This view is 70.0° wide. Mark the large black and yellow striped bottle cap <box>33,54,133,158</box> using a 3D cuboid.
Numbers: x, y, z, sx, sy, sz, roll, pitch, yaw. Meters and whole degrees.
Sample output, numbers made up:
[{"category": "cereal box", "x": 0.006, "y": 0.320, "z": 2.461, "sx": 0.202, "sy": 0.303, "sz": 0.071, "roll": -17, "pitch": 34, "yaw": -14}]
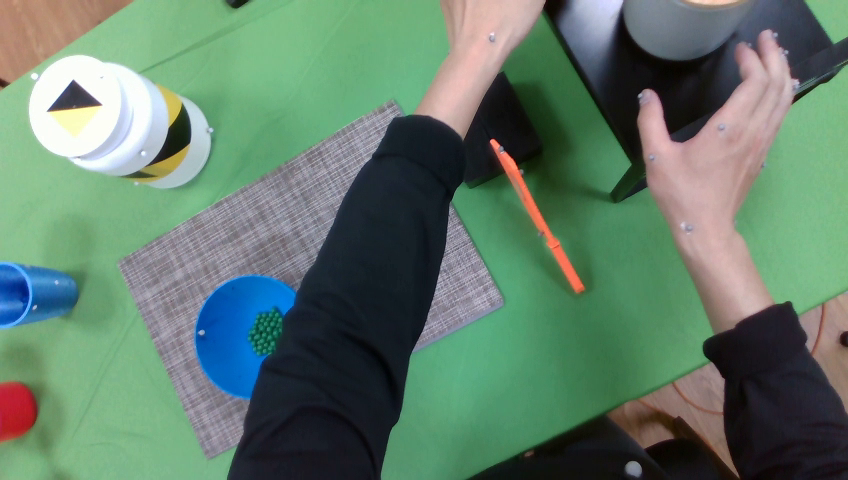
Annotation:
[{"category": "large black and yellow striped bottle cap", "x": -0.382, "y": -0.149, "z": 0.678, "sx": 0.115, "sy": 0.019, "sz": 0.115, "roll": 0, "pitch": 88, "yaw": 11}]

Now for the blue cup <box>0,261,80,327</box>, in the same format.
[{"category": "blue cup", "x": -0.527, "y": 0.071, "z": 0.818, "sx": 0.092, "sy": 0.100, "sz": 0.092, "roll": 0, "pitch": 87, "yaw": 8}]

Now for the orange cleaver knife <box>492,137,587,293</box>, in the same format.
[{"category": "orange cleaver knife", "x": 0.136, "y": -0.028, "z": 0.716, "sx": 0.012, "sy": 0.076, "sz": 0.213, "roll": -31, "pitch": 112, "yaw": 5}]

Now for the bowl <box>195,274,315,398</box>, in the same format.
[{"category": "bowl", "x": -0.200, "y": 0.118, "z": 0.766, "sx": 0.151, "sy": 0.077, "sz": 0.151, "roll": -1, "pitch": 87, "yaw": 10}]

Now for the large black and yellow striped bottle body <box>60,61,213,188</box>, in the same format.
[{"category": "large black and yellow striped bottle body", "x": -0.368, "y": -0.143, "z": 0.760, "sx": 0.130, "sy": 0.184, "sz": 0.130, "roll": -1, "pitch": 86, "yaw": 10}]

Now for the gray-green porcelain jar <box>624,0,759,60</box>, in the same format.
[{"category": "gray-green porcelain jar", "x": 0.226, "y": -0.217, "z": 0.505, "sx": 0.105, "sy": 0.127, "sz": 0.105, "roll": -1, "pitch": 87, "yaw": 11}]

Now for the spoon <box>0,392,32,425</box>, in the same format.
[{"category": "spoon", "x": -0.636, "y": 0.252, "z": 0.808, "sx": 0.194, "sy": 0.021, "sz": 0.041, "roll": -16, "pitch": 83, "yaw": -35}]

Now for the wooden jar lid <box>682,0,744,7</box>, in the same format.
[{"category": "wooden jar lid", "x": 0.214, "y": -0.221, "z": 0.443, "sx": 0.108, "sy": 0.021, "sz": 0.108, "roll": -1, "pitch": 87, "yaw": 11}]
